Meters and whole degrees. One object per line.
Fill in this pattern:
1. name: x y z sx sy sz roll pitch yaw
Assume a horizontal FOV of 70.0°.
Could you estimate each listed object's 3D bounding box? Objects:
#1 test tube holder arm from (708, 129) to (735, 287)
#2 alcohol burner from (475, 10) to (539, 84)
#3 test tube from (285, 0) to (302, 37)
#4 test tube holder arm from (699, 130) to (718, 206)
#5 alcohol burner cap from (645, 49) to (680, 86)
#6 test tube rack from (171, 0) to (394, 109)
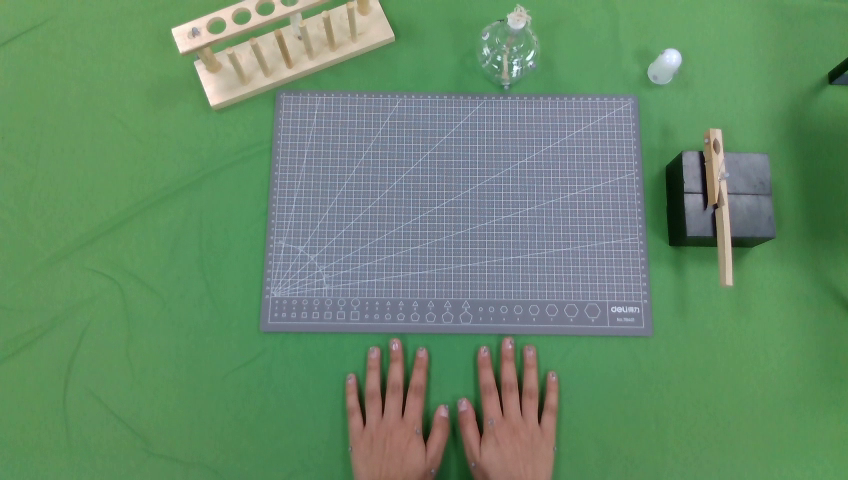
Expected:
1. test tube holder arm: 0.329 -0.037 0.674 0.013 0.015 0.177 -3 79 -3
2. alcohol burner: 0.100 -0.235 0.714 0.078 0.119 0.077 1 78 -2
3. test tube: -0.151 -0.282 0.684 0.017 0.151 0.017 1 70 -4
4. test tube holder arm: 0.322 -0.081 0.682 0.010 0.015 0.087 -1 79 -2
5. alcohol burner cap: 0.297 -0.216 0.749 0.034 0.048 0.033 0 77 1
6. test tube rack: -0.162 -0.247 0.727 0.242 0.085 0.066 -23 78 -6
